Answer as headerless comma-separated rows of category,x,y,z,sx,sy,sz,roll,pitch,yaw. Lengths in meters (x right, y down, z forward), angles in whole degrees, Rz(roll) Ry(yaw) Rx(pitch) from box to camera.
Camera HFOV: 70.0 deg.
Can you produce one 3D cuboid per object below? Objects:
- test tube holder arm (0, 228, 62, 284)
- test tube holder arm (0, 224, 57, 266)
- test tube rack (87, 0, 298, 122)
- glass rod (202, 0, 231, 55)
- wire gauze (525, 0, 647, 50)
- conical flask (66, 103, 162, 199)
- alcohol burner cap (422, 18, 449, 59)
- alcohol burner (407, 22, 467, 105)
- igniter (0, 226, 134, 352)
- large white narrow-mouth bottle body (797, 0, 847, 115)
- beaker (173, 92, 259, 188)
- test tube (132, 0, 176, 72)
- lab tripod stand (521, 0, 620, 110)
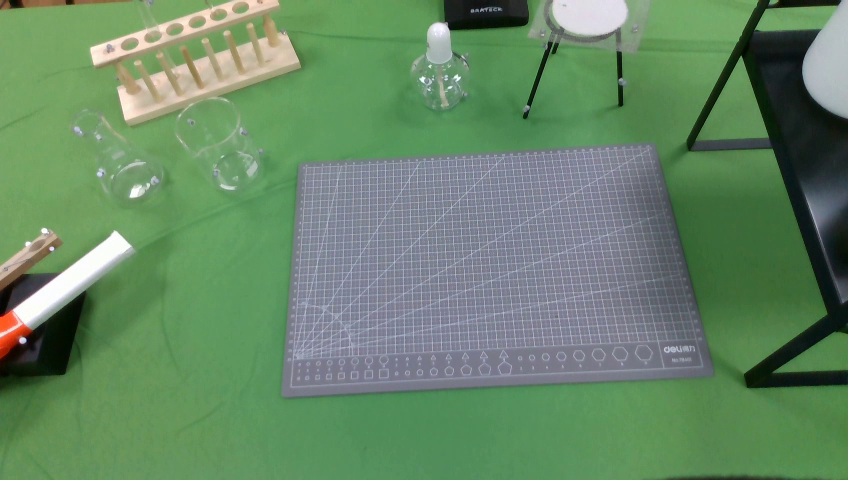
test tube holder arm,-0.437,0.021,0.658,0.010,0.015,0.087,40,70,20
test tube holder arm,-0.472,0.047,0.645,0.013,0.015,0.178,39,70,19
test tube rack,-0.301,-0.248,0.805,0.242,0.086,0.066,-22,64,-9
glass rod,-0.282,-0.311,0.762,0.008,0.201,0.008,-5,56,7
wire gauze,0.190,-0.271,0.692,0.121,0.011,0.124,17,66,9
conical flask,-0.371,-0.108,0.716,0.075,0.123,0.074,-1,62,3
alcohol burner cap,0.014,-0.247,0.734,0.034,0.048,0.033,-1,62,2
alcohol burner,0.016,-0.229,0.766,0.078,0.120,0.077,0,61,1
igniter,-0.425,0.083,0.621,0.057,0.025,0.276,39,67,18
large white narrow-mouth bottle body,0.394,-0.194,0.484,0.102,0.196,0.101,-1,64,2
beaker,-0.245,-0.113,0.727,0.074,0.101,0.083,11,64,9
test tube,-0.344,-0.270,0.763,0.017,0.151,0.017,1,60,-1
lab tripod stand,0.186,-0.238,0.752,0.148,0.132,0.147,0,62,1
